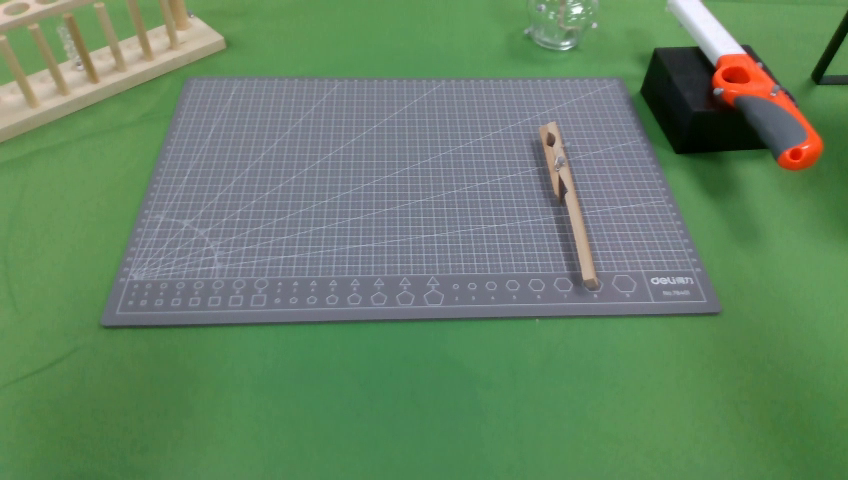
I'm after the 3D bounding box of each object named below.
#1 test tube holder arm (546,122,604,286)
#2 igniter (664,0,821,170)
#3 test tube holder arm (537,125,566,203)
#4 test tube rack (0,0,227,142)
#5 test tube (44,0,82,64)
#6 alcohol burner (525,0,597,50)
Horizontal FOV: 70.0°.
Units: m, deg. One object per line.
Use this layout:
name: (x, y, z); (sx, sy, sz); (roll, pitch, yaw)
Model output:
test tube holder arm: (0.124, -0.037, 0.510); (0.013, 0.015, 0.176); (-26, 46, 23)
igniter: (0.284, -0.159, 0.558); (0.057, 0.025, 0.273); (-5, 48, -2)
test tube holder arm: (0.116, -0.069, 0.540); (0.010, 0.015, 0.087); (-26, 47, 23)
test tube rack: (-0.322, -0.192, 0.583); (0.242, 0.086, 0.066); (-35, 59, -28)
test tube: (-0.340, -0.229, 0.548); (0.017, 0.151, 0.017); (3, 47, -2)
alcohol burner: (0.150, -0.268, 0.650); (0.078, 0.120, 0.077); (1, 52, -1)
